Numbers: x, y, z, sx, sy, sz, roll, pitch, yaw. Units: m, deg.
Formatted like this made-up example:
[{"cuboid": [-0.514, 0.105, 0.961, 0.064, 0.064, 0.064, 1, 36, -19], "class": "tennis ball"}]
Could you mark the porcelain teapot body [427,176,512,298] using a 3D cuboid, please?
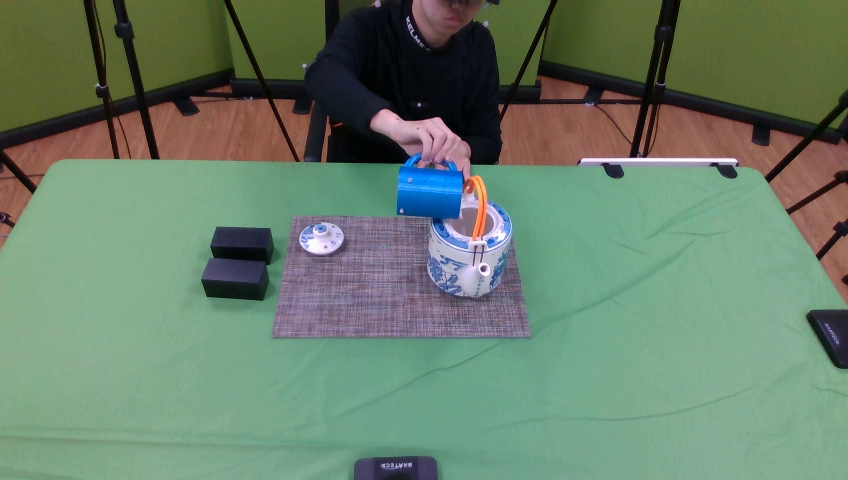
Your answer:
[{"cuboid": [0.085, 0.010, 1.051, 0.145, 0.226, 0.204, -5, 47, -8], "class": "porcelain teapot body"}]

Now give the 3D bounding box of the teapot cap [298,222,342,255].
[{"cuboid": [-0.201, -0.008, 1.171, 0.085, 0.044, 0.084, 1, 48, -1], "class": "teapot cap"}]

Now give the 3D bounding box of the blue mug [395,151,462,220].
[{"cuboid": [0.009, -0.095, 1.017, 0.106, 0.082, 0.116, 5, 77, -2], "class": "blue mug"}]
